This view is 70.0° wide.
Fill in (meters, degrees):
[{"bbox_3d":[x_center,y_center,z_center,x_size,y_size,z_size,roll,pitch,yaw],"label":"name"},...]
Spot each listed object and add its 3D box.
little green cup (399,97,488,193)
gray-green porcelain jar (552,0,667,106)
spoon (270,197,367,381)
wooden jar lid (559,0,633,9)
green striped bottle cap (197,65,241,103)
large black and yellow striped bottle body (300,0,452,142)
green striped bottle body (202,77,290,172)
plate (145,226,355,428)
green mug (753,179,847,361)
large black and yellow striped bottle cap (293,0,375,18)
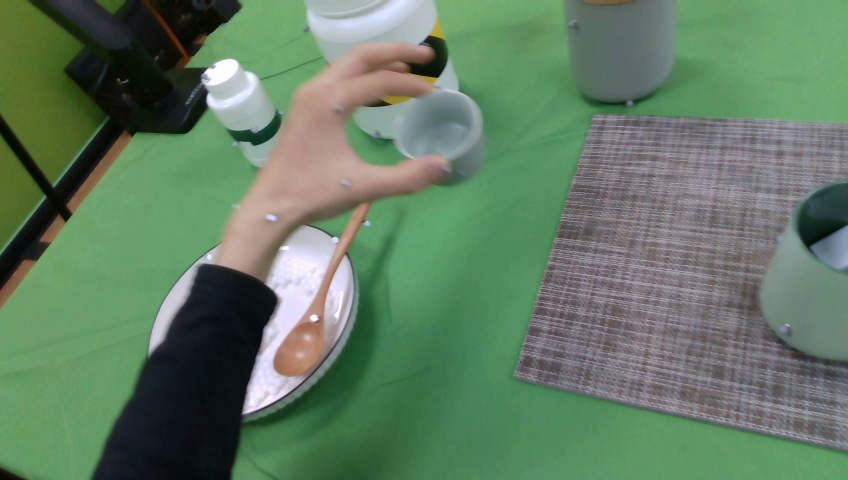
[{"bbox_3d":[0.016,-0.065,0.429,0.061,0.039,0.061,-7,59,12],"label":"little green cup"},{"bbox_3d":[0.187,-0.209,0.609,0.105,0.128,0.105,-10,52,13],"label":"gray-green porcelain jar"},{"bbox_3d":[-0.090,0.039,0.558,0.041,0.022,0.192,10,67,24],"label":"spoon"},{"bbox_3d":[0.170,-0.246,0.562,0.108,0.021,0.107,-10,54,14],"label":"wooden jar lid"},{"bbox_3d":[-0.224,-0.171,0.664,0.044,0.020,0.044,-8,54,11],"label":"green striped bottle cap"},{"bbox_3d":[-0.053,-0.213,0.660,0.130,0.186,0.129,-10,52,13],"label":"large black and yellow striped bottle body"},{"bbox_3d":[-0.210,-0.140,0.703,0.063,0.120,0.062,-10,51,13],"label":"green striped bottle body"},{"bbox_3d":[-0.159,0.079,0.573,0.209,0.038,0.207,-10,52,13],"label":"plate"},{"bbox_3d":[0.291,0.029,0.400,0.124,0.106,0.092,30,68,35],"label":"green mug"},{"bbox_3d":[-0.078,-0.260,0.595,0.115,0.019,0.114,-10,50,12],"label":"large black and yellow striped bottle cap"}]
